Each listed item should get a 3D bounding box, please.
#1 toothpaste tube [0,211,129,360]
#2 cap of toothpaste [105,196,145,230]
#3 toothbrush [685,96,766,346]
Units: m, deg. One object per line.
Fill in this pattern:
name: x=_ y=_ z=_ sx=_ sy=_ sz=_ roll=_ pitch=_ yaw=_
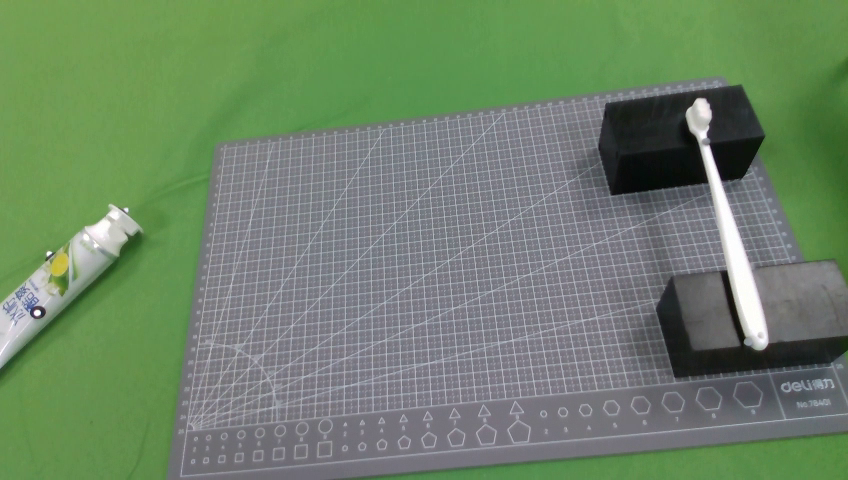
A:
toothpaste tube: x=-0.302 y=0.036 z=0.479 sx=0.054 sy=0.035 sz=0.165 roll=34 pitch=74 yaw=31
cap of toothpaste: x=-0.247 y=-0.021 z=0.497 sx=0.037 sy=0.038 sz=0.011 roll=25 pitch=65 yaw=21
toothbrush: x=0.192 y=-0.020 z=0.387 sx=0.014 sy=0.017 sz=0.180 roll=2 pitch=62 yaw=-3
